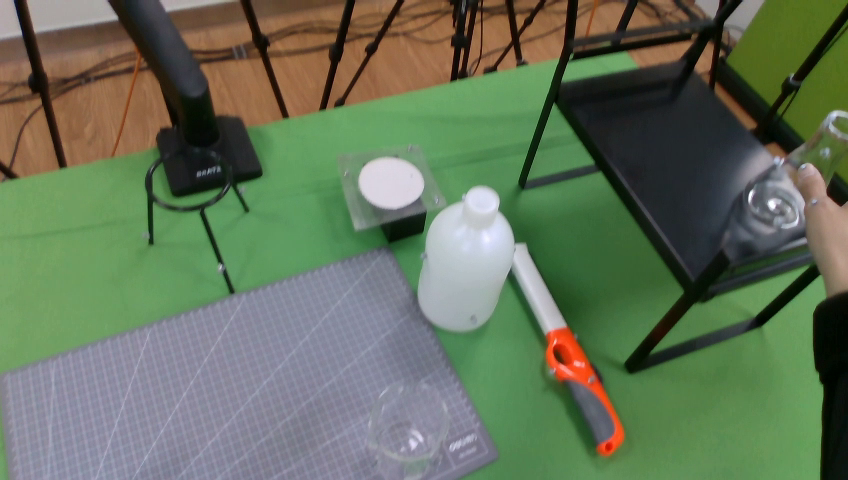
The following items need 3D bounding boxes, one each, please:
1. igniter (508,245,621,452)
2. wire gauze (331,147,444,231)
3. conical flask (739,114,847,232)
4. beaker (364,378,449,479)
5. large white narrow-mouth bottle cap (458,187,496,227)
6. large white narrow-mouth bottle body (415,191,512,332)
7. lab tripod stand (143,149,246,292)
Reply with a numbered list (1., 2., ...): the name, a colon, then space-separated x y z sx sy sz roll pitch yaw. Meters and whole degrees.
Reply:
1. igniter: 0.161 0.119 0.728 0.057 0.025 0.273 -6 55 -25
2. wire gauze: -0.049 -0.073 0.787 0.122 0.011 0.124 -12 57 -16
3. conical flask: 0.383 -0.070 0.611 0.075 0.123 0.074 4 54 -5
4. beaker: -0.021 0.194 0.601 0.084 0.101 0.073 -22 59 -20
5. large white narrow-mouth bottle cap: 0.053 -0.033 0.611 0.038 0.024 0.037 4 54 -5
6. large white narrow-mouth bottle body: 0.045 0.018 0.680 0.102 0.196 0.101 3 54 -4
7. lab tripod stand: -0.261 -0.027 0.709 0.149 0.132 0.147 5 54 -7
